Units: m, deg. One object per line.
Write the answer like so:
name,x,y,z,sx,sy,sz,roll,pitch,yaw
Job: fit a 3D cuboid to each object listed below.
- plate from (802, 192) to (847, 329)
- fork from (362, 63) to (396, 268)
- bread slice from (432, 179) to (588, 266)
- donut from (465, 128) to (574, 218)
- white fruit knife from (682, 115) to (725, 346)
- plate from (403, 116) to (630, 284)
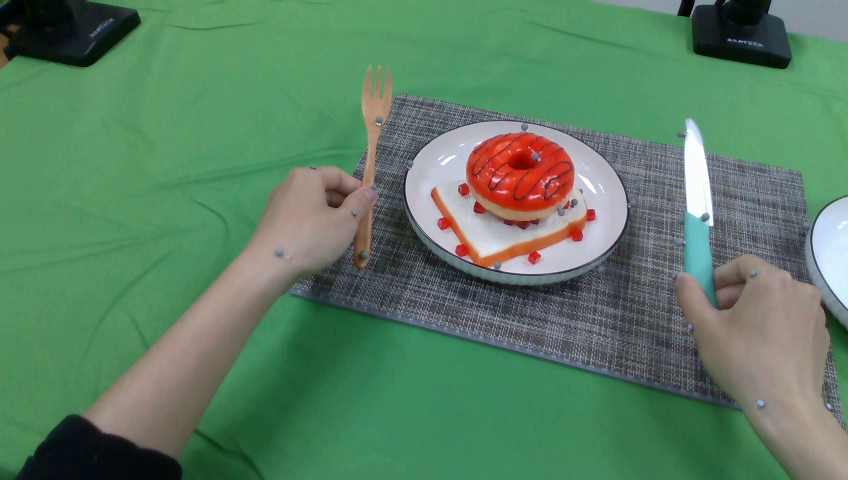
plate,0.433,0.040,0.524,0.208,0.039,0.205,1,49,-1
fork,-0.042,-0.071,0.531,0.028,0.019,0.205,-15,57,32
bread slice,0.086,-0.033,0.571,0.132,0.019,0.103,-19,54,-16
donut,0.086,-0.061,0.544,0.099,0.048,0.098,1,49,-1
white fruit knife,0.224,-0.016,0.496,0.027,0.016,0.206,8,66,-4
plate,0.084,-0.039,0.571,0.209,0.038,0.207,1,49,-1
